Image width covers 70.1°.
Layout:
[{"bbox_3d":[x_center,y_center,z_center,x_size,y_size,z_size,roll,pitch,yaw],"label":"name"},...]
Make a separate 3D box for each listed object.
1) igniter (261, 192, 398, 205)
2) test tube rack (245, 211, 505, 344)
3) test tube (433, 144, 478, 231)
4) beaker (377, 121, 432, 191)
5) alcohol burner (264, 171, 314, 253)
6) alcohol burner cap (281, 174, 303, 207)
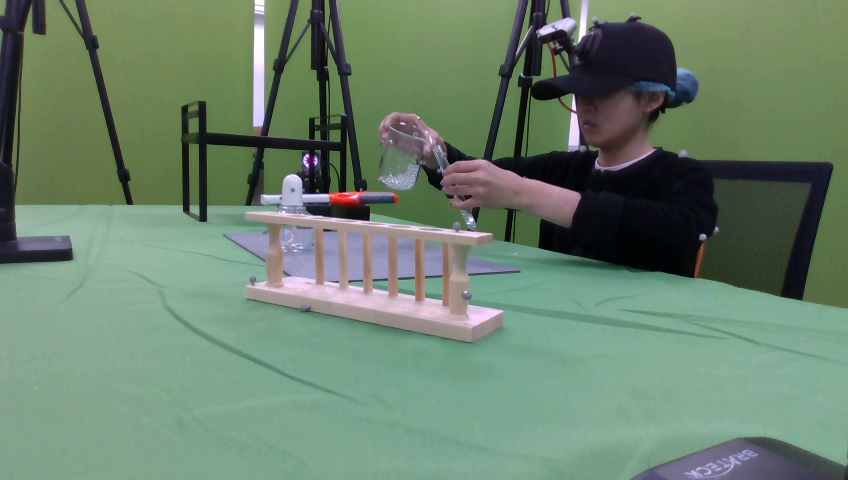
[{"bbox_3d":[-0.185,-0.083,1.217,0.278,0.025,0.057,-2,12,-25],"label":"igniter"},{"bbox_3d":[-0.049,0.025,0.547,0.241,0.085,0.067,7,8,29],"label":"test tube rack"},{"bbox_3d":[0.050,-0.083,0.957,0.017,0.150,0.017,-23,-8,-3],"label":"test tube"},{"bbox_3d":[-0.035,-0.140,1.024,0.083,0.100,0.074,27,26,20],"label":"beaker"},{"bbox_3d":[-0.194,-0.042,0.888,0.078,0.119,0.078,3,5,0],"label":"alcohol burner"},{"bbox_3d":[-0.193,-0.072,0.884,0.034,0.048,0.034,1,5,0],"label":"alcohol burner cap"}]
